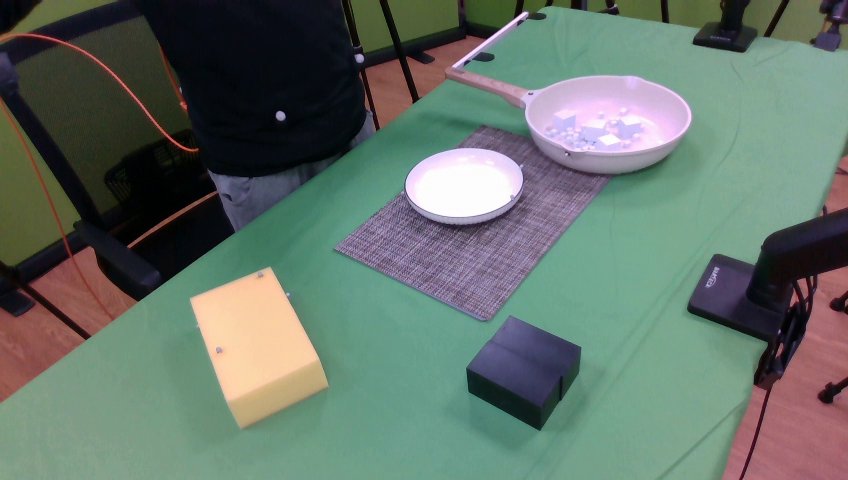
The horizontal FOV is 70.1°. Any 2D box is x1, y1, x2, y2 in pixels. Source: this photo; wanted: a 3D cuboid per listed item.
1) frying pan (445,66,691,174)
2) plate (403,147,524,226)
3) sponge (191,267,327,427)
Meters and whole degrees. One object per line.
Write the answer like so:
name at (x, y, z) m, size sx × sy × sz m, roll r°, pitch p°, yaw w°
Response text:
frying pan at (0.250, -0.258, 1.165) m, size 0.485 × 0.103 × 0.307 m, roll 27°, pitch 48°, yaw 22°
plate at (0.069, -0.089, 1.044) m, size 0.207 × 0.039 × 0.206 m, roll -4°, pitch 41°, yaw 4°
sponge at (-0.226, 0.135, 0.814) m, size 0.119 × 0.061 × 0.205 m, roll -23°, pitch 43°, yaw -19°
